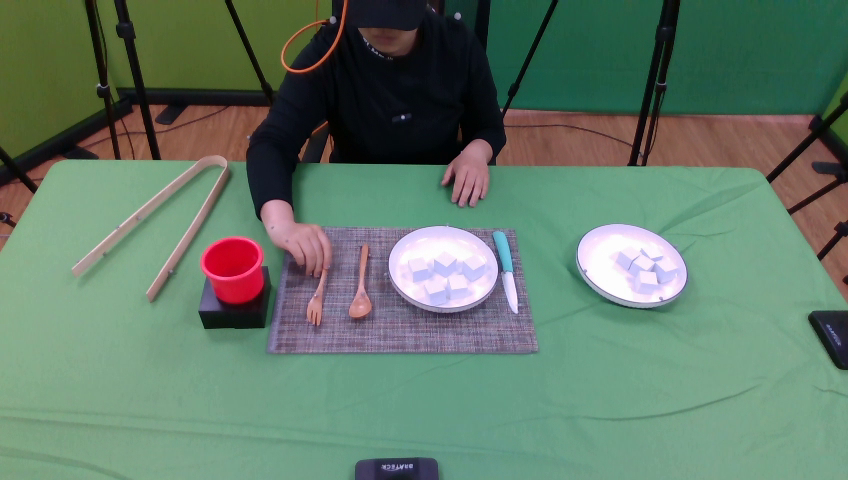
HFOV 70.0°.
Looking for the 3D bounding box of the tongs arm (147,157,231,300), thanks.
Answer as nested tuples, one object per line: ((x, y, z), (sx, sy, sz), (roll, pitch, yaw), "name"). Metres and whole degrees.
((-0.454, -0.036, 1.193), (0.028, 0.028, 0.385), (6, 46, 6), "tongs arm")

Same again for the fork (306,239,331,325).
((-0.189, 0.072, 1.108), (0.028, 0.018, 0.206), (27, 42, -23), "fork")

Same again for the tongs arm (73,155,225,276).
((-0.531, -0.058, 1.205), (0.050, 0.026, 0.383), (18, 47, 13), "tongs arm")

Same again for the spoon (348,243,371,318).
((-0.113, 0.070, 1.115), (0.041, 0.022, 0.192), (-11, 45, 11), "spoon")

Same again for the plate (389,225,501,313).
((0.038, 0.057, 1.129), (0.208, 0.039, 0.206), (2, 46, -2), "plate")

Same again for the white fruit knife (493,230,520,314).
((0.160, 0.057, 1.154), (0.027, 0.016, 0.206), (-21, 46, 16), "white fruit knife")

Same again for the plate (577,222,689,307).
((0.396, 0.050, 1.165), (0.209, 0.038, 0.208), (2, 47, -2), "plate")
